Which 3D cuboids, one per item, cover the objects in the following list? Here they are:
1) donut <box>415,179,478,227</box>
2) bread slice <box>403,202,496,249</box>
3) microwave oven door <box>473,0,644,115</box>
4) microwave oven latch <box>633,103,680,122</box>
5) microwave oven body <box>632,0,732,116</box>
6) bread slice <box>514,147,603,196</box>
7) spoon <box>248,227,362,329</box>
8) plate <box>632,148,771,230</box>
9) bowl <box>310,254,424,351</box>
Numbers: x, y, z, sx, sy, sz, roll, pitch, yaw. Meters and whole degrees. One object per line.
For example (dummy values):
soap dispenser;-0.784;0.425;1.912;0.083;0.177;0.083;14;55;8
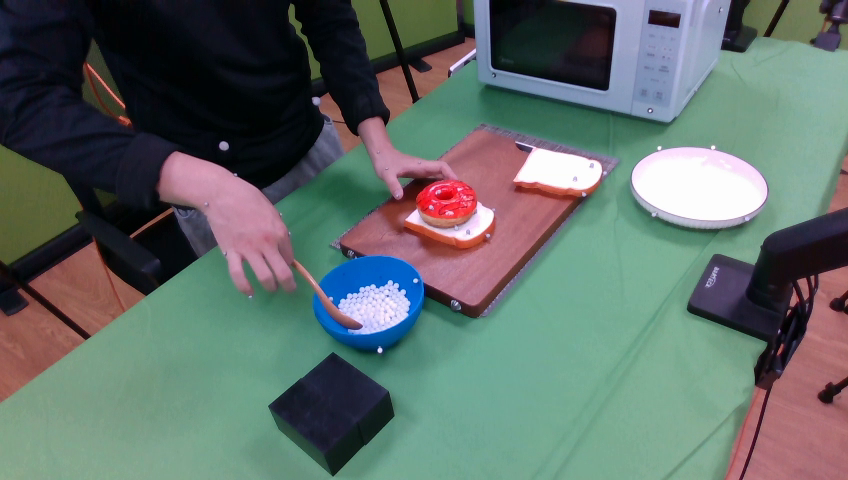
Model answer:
donut;0.036;-0.058;0.944;0.099;0.048;0.098;-5;40;5
bread slice;0.048;-0.034;0.961;0.130;0.019;0.105;22;49;32
microwave oven door;0.257;-0.396;1.199;0.353;0.245;0.039;21;48;29
microwave oven latch;0.444;-0.249;1.157;0.078;0.029;0.030;21;49;30
microwave oven body;0.377;-0.462;1.267;0.438;0.261;0.327;21;49;30
bread slice;0.233;-0.115;1.027;0.133;0.018;0.107;13;45;20
spoon;-0.154;0.049;0.778;0.193;0.041;0.022;46;72;2
plate;0.447;-0.081;0.988;0.207;0.039;0.206;-4;40;4
bowl;-0.071;0.098;0.821;0.151;0.077;0.150;-4;40;4
